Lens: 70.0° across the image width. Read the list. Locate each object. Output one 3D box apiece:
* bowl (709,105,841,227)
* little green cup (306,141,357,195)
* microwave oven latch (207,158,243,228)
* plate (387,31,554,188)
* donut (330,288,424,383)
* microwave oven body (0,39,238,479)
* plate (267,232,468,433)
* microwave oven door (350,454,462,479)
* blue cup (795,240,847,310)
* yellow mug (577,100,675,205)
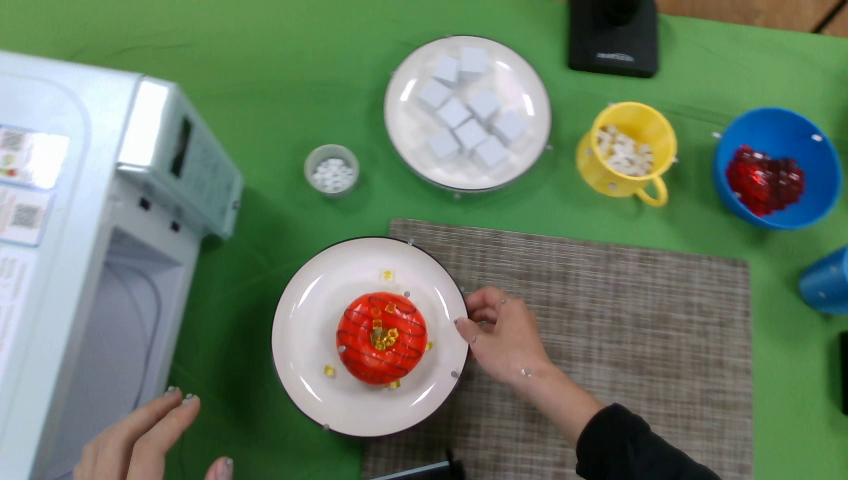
[{"bbox_3d":[0.414,-0.081,0.747,0.151,0.077,0.150,1,78,-3],"label":"bowl"},{"bbox_3d":[-0.110,-0.085,0.732,0.061,0.039,0.061,1,79,-5],"label":"little green cup"},{"bbox_3d":[-0.232,-0.056,0.699,0.030,0.029,0.079,13,78,-1],"label":"microwave oven latch"},{"bbox_3d":[0.057,-0.161,0.761,0.208,0.039,0.206,1,78,-3],"label":"plate"},{"bbox_3d":[-0.049,0.099,0.634,0.099,0.048,0.099,0,89,-10],"label":"donut"},{"bbox_3d":[-0.402,0.067,0.563,0.326,0.261,0.440,10,78,-2],"label":"microwave oven body"},{"bbox_3d":[-0.059,0.096,0.644,0.209,0.038,0.208,1,86,-8],"label":"plate"},{"bbox_3d":[-0.128,0.262,0.534,0.356,0.244,0.039,-12,78,-6],"label":"microwave oven door"},{"bbox_3d":[0.496,0.044,0.712,0.093,0.100,0.092,1,76,-4],"label":"blue cup"},{"bbox_3d":[0.256,-0.100,0.747,0.100,0.064,0.130,-30,82,-9],"label":"yellow mug"}]
